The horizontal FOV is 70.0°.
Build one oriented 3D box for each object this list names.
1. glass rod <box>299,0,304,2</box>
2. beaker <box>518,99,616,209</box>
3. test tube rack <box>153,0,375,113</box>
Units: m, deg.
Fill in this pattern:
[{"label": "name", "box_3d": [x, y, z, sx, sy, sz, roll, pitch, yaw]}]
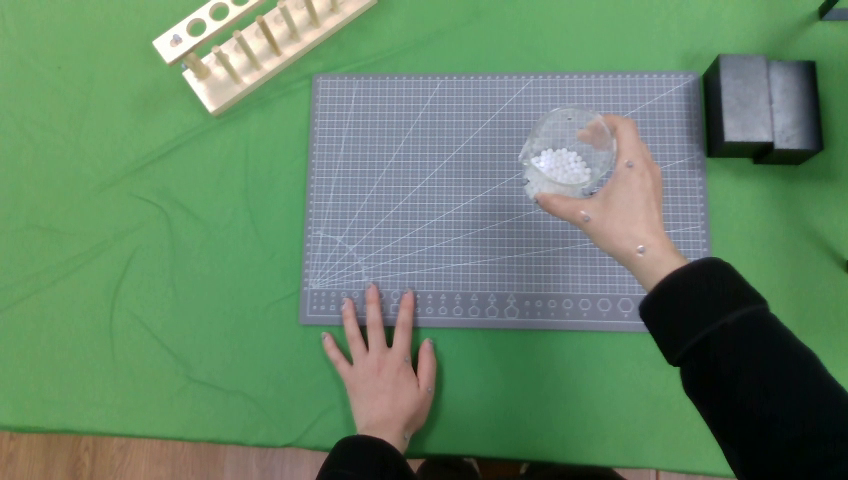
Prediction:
[{"label": "glass rod", "box_3d": [-0.160, -0.301, 0.637, 0.008, 0.200, 0.008, -1, 84, 7]}, {"label": "beaker", "box_3d": [0.125, -0.073, 0.561, 0.084, 0.101, 0.073, -13, 77, 1]}, {"label": "test tube rack", "box_3d": [-0.176, -0.257, 0.697, 0.242, 0.085, 0.066, -37, 79, -3]}]
